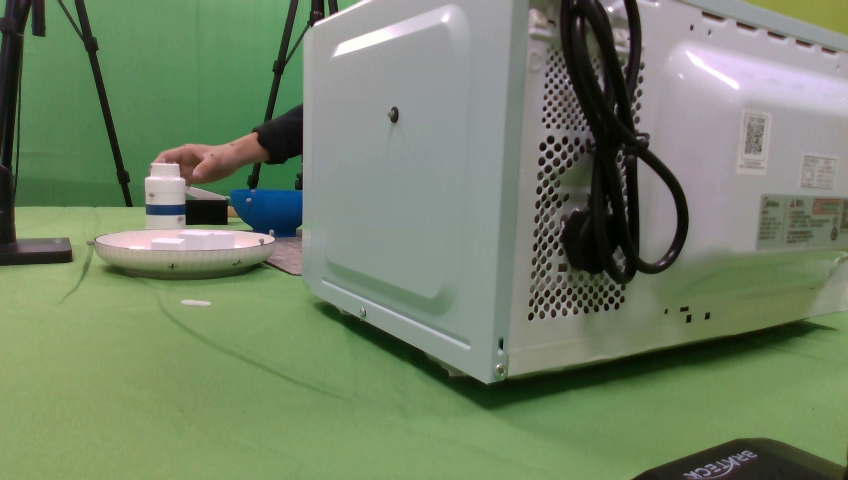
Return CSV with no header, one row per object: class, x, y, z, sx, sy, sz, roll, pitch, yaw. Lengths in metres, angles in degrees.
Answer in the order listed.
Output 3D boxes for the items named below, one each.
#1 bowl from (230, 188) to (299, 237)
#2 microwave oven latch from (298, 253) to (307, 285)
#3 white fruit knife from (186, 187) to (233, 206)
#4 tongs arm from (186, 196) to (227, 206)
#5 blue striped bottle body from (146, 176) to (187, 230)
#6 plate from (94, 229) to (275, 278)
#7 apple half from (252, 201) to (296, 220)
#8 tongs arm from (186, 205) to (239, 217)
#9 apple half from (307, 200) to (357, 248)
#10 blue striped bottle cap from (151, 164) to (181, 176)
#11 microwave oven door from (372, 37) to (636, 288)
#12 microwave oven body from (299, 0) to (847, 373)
bowl,-0.264,-0.048,1.065,0.151,0.077,0.151,3,8,0
microwave oven latch,-0.081,0.027,0.582,0.079,0.029,0.030,-2,7,-33
white fruit knife,-0.413,-0.081,1.270,0.208,0.027,0.016,18,14,-41
tongs arm,-0.404,-0.081,1.479,0.385,0.026,0.050,3,9,-2
blue striped bottle body,-0.429,-0.065,1.009,0.063,0.120,0.063,2,7,0
plate,-0.291,0.016,0.750,0.208,0.039,0.207,2,7,0
apple half,-0.264,-0.053,1.066,0.081,0.033,0.081,3,9,0
tongs arm,-0.396,-0.066,1.399,0.389,0.028,0.028,1,6,-15
apple half,-0.135,-0.024,0.941,0.053,0.074,0.081,13,9,39
blue striped bottle cap,-0.428,-0.116,1.002,0.044,0.020,0.044,1,6,0
microwave oven door,0.110,-0.080,0.686,0.358,0.243,0.039,-2,9,-33
microwave oven body,0.151,-0.055,0.542,0.444,0.260,0.324,-2,7,-33
